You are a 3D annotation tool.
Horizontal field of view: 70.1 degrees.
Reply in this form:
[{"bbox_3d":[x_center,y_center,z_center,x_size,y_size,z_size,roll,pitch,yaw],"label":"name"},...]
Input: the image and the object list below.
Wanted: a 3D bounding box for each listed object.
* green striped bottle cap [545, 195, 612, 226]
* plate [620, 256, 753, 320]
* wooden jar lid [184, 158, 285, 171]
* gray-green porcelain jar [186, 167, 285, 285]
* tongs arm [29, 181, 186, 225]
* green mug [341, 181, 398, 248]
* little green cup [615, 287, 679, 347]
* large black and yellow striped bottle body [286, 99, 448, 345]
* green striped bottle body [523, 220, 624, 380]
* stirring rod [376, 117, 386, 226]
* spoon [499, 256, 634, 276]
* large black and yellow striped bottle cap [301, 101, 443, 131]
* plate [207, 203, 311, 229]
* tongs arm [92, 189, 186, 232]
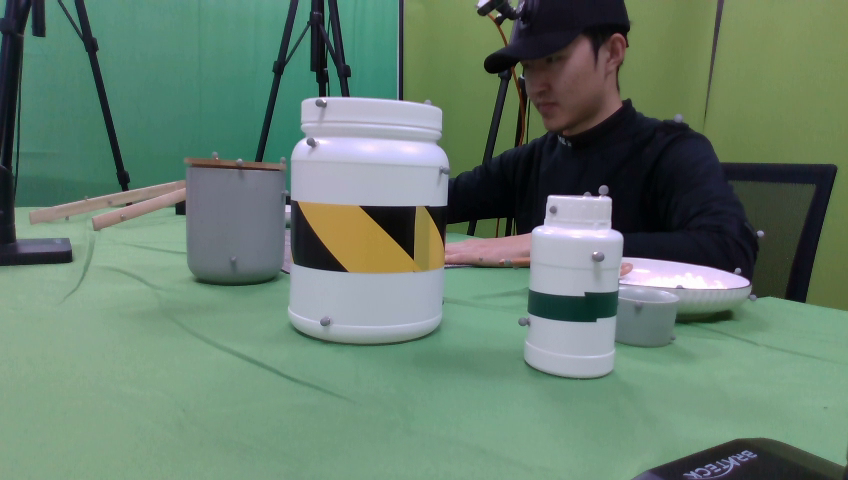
[{"bbox_3d":[0.106,-0.020,0.414,0.044,0.020,0.044,2,4,0],"label":"green striped bottle cap"},{"bbox_3d":[0.234,0.049,0.650,0.209,0.038,0.209,2,7,0],"label":"plate"},{"bbox_3d":[-0.210,-0.078,0.674,0.108,0.020,0.108,5,6,0],"label":"wooden jar lid"},{"bbox_3d":[-0.212,-0.017,0.682,0.106,0.126,0.106,2,7,0],"label":"gray-green porcelain jar"},{"bbox_3d":[-0.609,-0.083,1.245,0.050,0.026,0.386,5,16,23],"label":"tongs arm"},{"bbox_3d":[-0.090,-0.044,0.997,0.093,0.105,0.125,1,7,-8],"label":"green mug"},{"bbox_3d":[0.180,0.064,0.506,0.061,0.038,0.061,1,8,0],"label":"little green cup"},{"bbox_3d":[-0.047,-0.018,0.501,0.131,0.184,0.130,2,7,0],"label":"large black and yellow striped bottle body"},{"bbox_3d":[0.104,0.031,0.421,0.063,0.119,0.063,2,8,0],"label":"green striped bottle body"},{"bbox_3d":[-0.069,-0.110,0.977,0.006,0.176,0.014,1,5,-27],"label":"stirring rod"},{"bbox_3d":[0.162,0.027,0.679,0.195,0.021,0.041,8,2,-30],"label":"spoon"},{"bbox_3d":[-0.042,-0.099,0.491,0.115,0.019,0.115,1,8,0],"label":"large black and yellow striped bottle cap"},{"bbox_3d":[-0.342,-0.050,1.259,0.208,0.039,0.207,3,7,0],"label":"plate"},{"bbox_3d":[-0.534,-0.075,1.222,0.028,0.028,0.388,-2,15,12],"label":"tongs arm"}]
